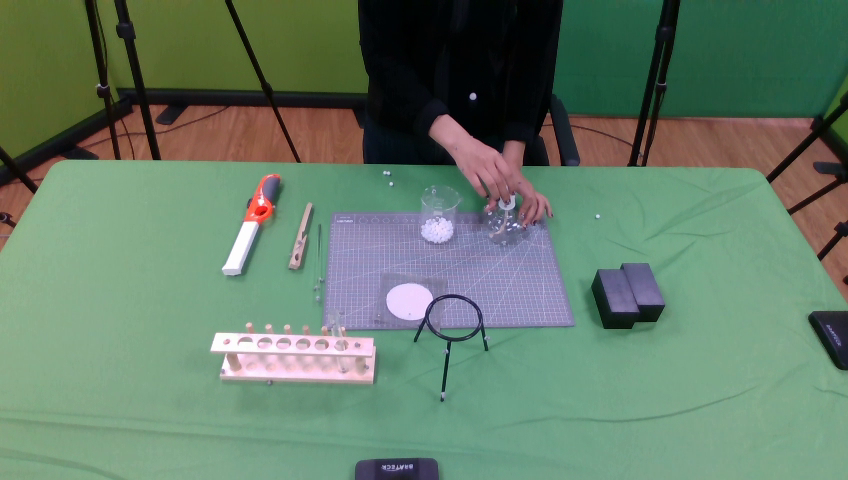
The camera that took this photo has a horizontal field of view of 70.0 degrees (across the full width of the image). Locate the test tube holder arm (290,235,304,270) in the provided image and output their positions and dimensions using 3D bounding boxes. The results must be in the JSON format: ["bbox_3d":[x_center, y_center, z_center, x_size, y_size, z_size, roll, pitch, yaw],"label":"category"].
[{"bbox_3d":[-0.243,0.021,1.164,0.010,0.015,0.087,29,39,-26],"label":"test tube holder arm"}]

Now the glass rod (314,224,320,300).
[{"bbox_3d":[-0.204,0.038,1.157,0.008,0.008,0.198,-2,44,-6],"label":"glass rod"}]

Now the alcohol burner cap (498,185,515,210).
[{"bbox_3d":[0.159,-0.082,1.156,0.034,0.048,0.033,-1,50,1],"label":"alcohol burner cap"}]

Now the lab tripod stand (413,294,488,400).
[{"bbox_3d":[0.044,0.159,0.972,0.148,0.132,0.147,2,44,-2],"label":"lab tripod stand"}]

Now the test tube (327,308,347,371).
[{"bbox_3d":[-0.132,0.155,0.926,0.017,0.151,0.017,0,45,0],"label":"test tube"}]

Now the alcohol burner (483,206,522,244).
[{"bbox_3d":[0.158,-0.049,1.193,0.078,0.119,0.077,4,46,-4],"label":"alcohol burner"}]

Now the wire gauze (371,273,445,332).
[{"bbox_3d":[-0.028,0.108,1.100,0.125,0.011,0.121,7,45,4],"label":"wire gauze"}]

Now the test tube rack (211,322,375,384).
[{"bbox_3d":[-0.203,0.176,0.969,0.242,0.085,0.066,3,46,-2],"label":"test tube rack"}]

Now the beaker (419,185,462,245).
[{"bbox_3d":[0.029,-0.047,1.191,0.084,0.101,0.073,-5,47,-10],"label":"beaker"}]

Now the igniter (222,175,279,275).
[{"bbox_3d":[-0.341,-0.039,1.206,0.057,0.025,0.275,-1,45,9],"label":"igniter"}]

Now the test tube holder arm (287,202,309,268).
[{"bbox_3d":[-0.247,-0.013,1.193,0.013,0.015,0.177,29,39,-26],"label":"test tube holder arm"}]
